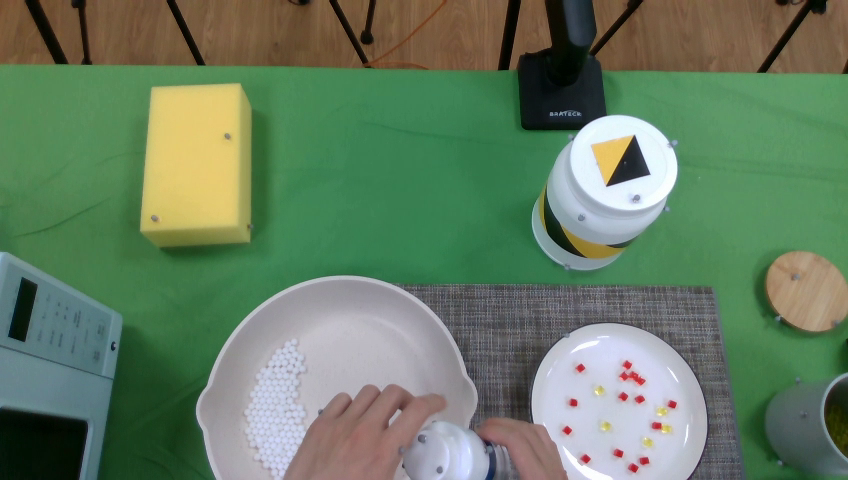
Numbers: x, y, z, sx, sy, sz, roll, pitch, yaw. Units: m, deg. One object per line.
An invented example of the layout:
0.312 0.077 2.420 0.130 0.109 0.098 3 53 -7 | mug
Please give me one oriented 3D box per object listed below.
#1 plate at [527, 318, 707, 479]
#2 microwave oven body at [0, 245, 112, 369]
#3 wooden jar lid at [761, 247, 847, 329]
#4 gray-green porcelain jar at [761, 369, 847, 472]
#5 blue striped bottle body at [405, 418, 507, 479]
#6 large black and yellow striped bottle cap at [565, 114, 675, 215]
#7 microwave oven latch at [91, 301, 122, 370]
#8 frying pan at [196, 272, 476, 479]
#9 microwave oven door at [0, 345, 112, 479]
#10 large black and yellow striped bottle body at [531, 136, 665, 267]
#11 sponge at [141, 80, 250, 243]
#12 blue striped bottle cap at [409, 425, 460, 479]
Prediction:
0.223 0.197 0.716 0.209 0.038 0.207 1 71 -1 | plate
-0.524 0.243 0.557 0.326 0.261 0.438 1 71 -2 | microwave oven body
0.489 0.063 0.785 0.108 0.021 0.107 1 72 -1 | wooden jar lid
0.454 0.204 0.678 0.106 0.127 0.105 1 70 -1 | gray-green porcelain jar
0.027 0.196 0.549 0.063 0.122 0.062 -11 65 25 | blue striped bottle body
0.209 -0.083 0.649 0.115 0.019 0.114 1 70 -1 | large black and yellow striped bottle cap
-0.377 0.111 0.710 0.030 0.029 0.078 4 71 -1 | microwave oven latch
-0.094 0.275 0.644 0.307 0.103 0.483 -1 63 0 | frying pan
-0.379 0.284 0.542 0.039 0.245 0.353 1 70 -1 | microwave oven door
0.208 -0.054 0.729 0.131 0.185 0.130 1 70 -1 | large black and yellow striped bottle body
-0.295 -0.104 0.794 0.118 0.061 0.205 -5 72 -4 | sponge
0.007 0.178 0.507 0.044 0.021 0.044 -13 71 39 | blue striped bottle cap
